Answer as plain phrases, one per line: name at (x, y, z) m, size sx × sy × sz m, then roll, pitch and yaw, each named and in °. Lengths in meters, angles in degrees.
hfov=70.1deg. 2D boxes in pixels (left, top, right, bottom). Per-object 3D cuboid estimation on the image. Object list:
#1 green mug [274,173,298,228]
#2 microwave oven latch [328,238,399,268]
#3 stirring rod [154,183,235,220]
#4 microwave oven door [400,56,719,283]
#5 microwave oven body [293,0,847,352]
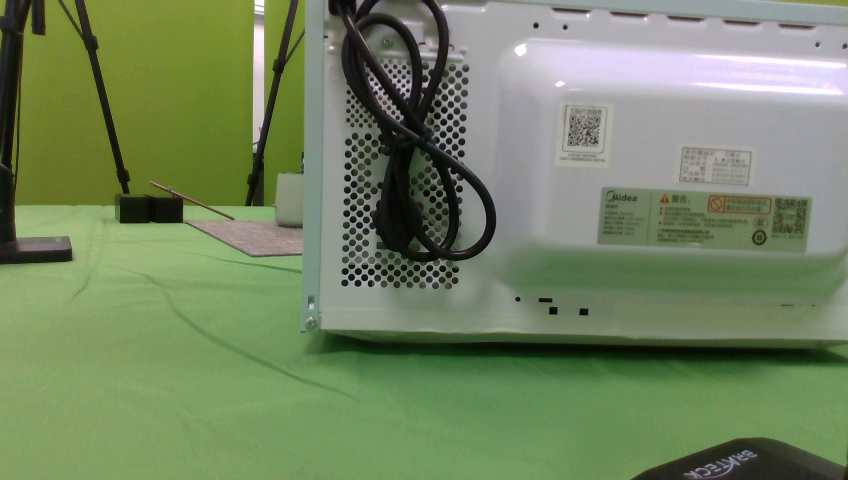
green mug at (-0.242, -0.081, 1.221) m, size 0.092 × 0.105 × 0.126 m, roll 8°, pitch 9°, yaw 39°
microwave oven latch at (-0.069, 0.015, 0.694) m, size 0.079 × 0.029 × 0.030 m, roll 3°, pitch 7°, yaw -3°
stirring rod at (-0.472, -0.079, 1.252) m, size 0.177 × 0.006 × 0.014 m, roll 27°, pitch 3°, yaw -35°
microwave oven door at (0.155, -0.077, 0.697) m, size 0.356 × 0.243 × 0.039 m, roll 2°, pitch 8°, yaw -5°
microwave oven body at (0.122, -0.055, 0.550) m, size 0.442 × 0.260 × 0.325 m, roll 3°, pitch 7°, yaw -5°
